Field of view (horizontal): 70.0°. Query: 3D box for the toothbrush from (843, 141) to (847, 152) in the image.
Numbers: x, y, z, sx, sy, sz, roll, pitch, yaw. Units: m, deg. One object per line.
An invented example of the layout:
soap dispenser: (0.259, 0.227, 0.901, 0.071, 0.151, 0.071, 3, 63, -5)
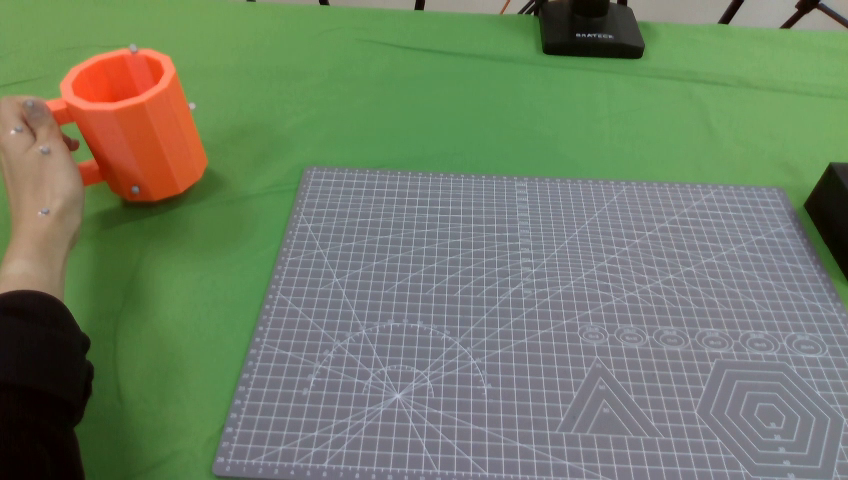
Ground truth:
toothbrush: (0.379, -0.027, 0.475, 0.014, 0.017, 0.180, 3, 46, -3)

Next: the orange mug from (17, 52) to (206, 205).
orange mug: (-0.255, -0.087, 0.500, 0.126, 0.101, 0.082, -19, 51, -23)
